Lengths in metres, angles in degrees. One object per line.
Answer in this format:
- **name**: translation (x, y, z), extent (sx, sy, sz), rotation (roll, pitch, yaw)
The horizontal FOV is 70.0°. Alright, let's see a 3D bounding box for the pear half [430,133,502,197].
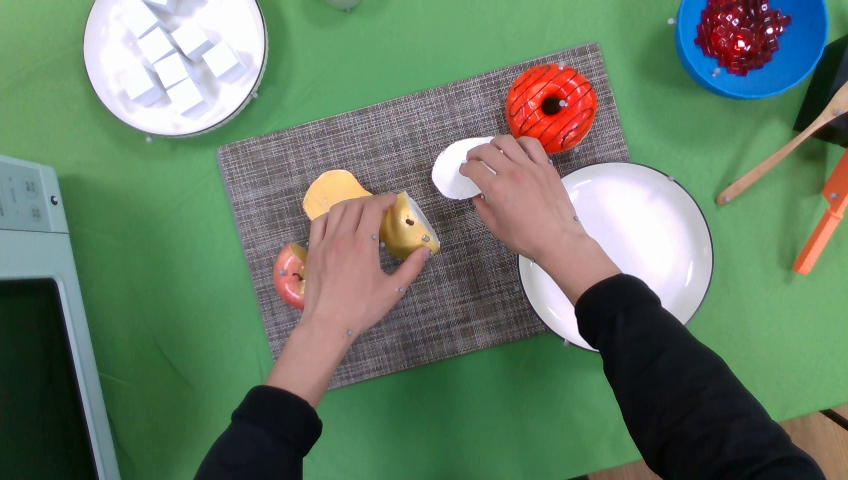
- **pear half**: translation (0.050, -0.082, 0.673), extent (0.088, 0.031, 0.070), rotation (-39, 78, -6)

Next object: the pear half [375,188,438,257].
- **pear half**: translation (-0.023, -0.014, 0.636), extent (0.056, 0.110, 0.076), rotation (-37, 84, 0)

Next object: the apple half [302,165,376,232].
- **apple half**: translation (-0.097, -0.040, 0.673), extent (0.081, 0.033, 0.080), rotation (4, 68, -11)

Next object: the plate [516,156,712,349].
- **plate**: translation (0.204, 0.013, 0.664), extent (0.209, 0.038, 0.209), rotation (0, 90, 2)

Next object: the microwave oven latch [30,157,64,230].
- **microwave oven latch**: translation (-0.426, -0.050, 0.671), extent (0.030, 0.029, 0.079), rotation (-11, 90, 1)

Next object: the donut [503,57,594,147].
- **donut**: translation (0.135, -0.150, 0.664), extent (0.099, 0.048, 0.099), rotation (0, 92, 5)

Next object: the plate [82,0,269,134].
- **plate**: translation (-0.275, -0.220, 0.685), extent (0.207, 0.039, 0.207), rotation (0, 90, 2)

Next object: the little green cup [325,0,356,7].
- **little green cup**: translation (-0.096, -0.294, 0.679), extent (0.061, 0.038, 0.061), rotation (0, 89, 3)

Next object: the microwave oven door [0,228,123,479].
- **microwave oven door**: translation (-0.385, 0.163, 0.568), extent (0.039, 0.244, 0.355), rotation (-13, 89, 2)

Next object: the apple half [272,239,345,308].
- **apple half**: translation (-0.131, 0.043, 0.658), extent (0.081, 0.074, 0.053), rotation (39, 95, -2)

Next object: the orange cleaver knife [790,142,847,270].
- **orange cleaver knife**: translation (0.442, -0.067, 0.637), extent (0.012, 0.077, 0.212), rotation (21, 116, 7)

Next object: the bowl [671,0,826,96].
- **bowl**: translation (0.329, -0.221, 0.644), extent (0.151, 0.077, 0.151), rotation (0, 90, 2)

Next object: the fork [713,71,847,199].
- **fork**: translation (0.392, -0.115, 0.637), extent (0.028, 0.018, 0.207), rotation (43, 111, -6)

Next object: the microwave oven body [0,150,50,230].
- **microwave oven body**: translation (-0.536, 0.153, 0.579), extent (0.326, 0.260, 0.441), rotation (-13, 90, 1)
